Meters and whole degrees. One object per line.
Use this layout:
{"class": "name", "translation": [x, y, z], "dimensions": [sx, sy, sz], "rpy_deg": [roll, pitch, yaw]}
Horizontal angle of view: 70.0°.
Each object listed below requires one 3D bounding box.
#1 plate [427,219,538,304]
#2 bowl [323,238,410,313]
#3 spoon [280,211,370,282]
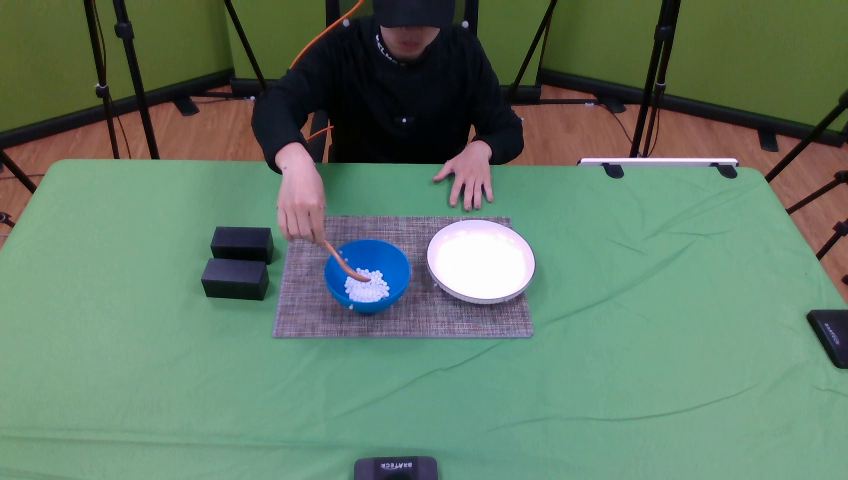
{"class": "plate", "translation": [0.109, 0.044, 1.149], "dimensions": [0.208, 0.039, 0.206], "rpy_deg": [2, 46, -2]}
{"class": "bowl", "translation": [-0.101, 0.077, 1.073], "dimensions": [0.151, 0.077, 0.150], "rpy_deg": [2, 46, -2]}
{"class": "spoon", "translation": [-0.169, 0.011, 1.035], "dimensions": [0.193, 0.041, 0.021], "rpy_deg": [43, 94, 2]}
